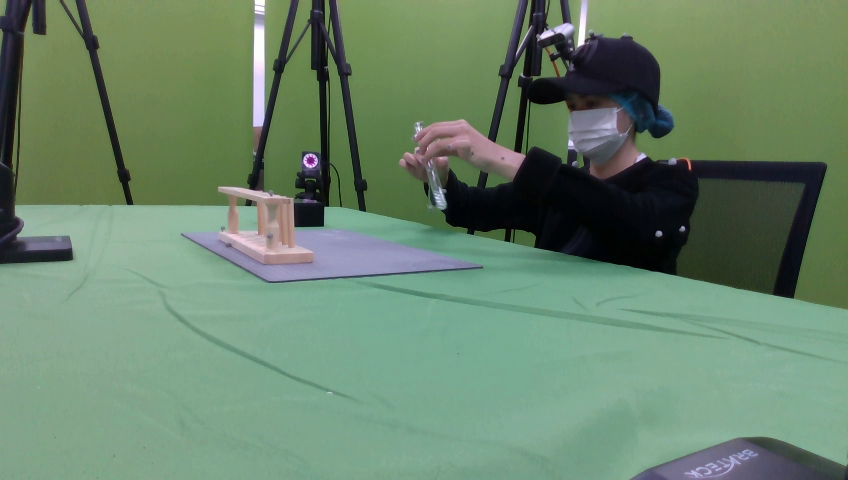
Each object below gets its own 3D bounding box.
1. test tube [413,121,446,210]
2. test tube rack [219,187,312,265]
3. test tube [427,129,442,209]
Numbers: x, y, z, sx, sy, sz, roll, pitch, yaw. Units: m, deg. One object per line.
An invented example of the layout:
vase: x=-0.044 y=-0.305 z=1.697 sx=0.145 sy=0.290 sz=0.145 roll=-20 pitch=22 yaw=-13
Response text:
test tube: x=0.008 y=-0.115 z=0.926 sx=0.017 sy=0.150 sz=0.017 roll=-14 pitch=-16 yaw=-4
test tube rack: x=-0.235 y=-0.027 z=0.872 sx=0.067 sy=0.085 sz=0.241 roll=-2 pitch=8 yaw=-31
test tube: x=0.018 y=-0.129 z=1.111 sx=0.017 sy=0.150 sz=0.017 roll=5 pitch=21 yaw=-2
